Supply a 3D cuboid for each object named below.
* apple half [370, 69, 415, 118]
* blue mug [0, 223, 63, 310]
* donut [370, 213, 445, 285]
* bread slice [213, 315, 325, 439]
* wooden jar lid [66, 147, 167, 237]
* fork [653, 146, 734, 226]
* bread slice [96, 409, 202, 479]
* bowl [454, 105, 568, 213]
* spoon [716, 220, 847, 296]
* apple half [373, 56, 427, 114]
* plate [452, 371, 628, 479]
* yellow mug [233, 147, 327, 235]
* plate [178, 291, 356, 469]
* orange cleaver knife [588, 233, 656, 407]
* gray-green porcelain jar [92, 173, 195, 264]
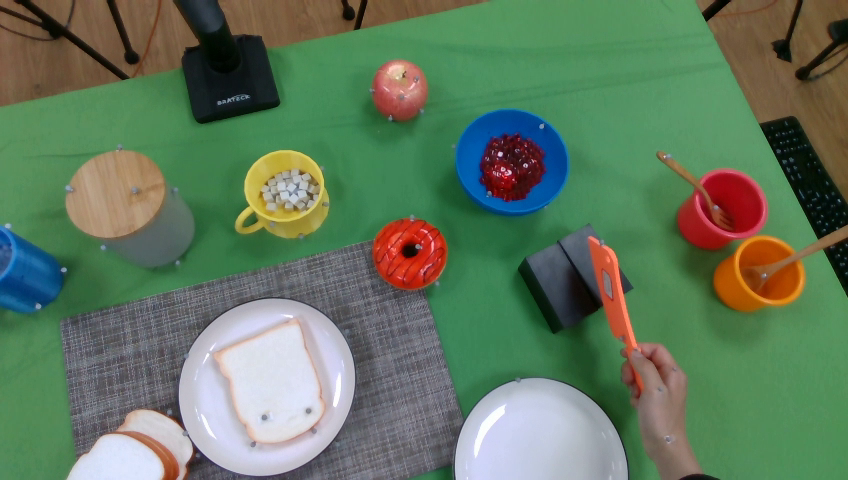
[{"bbox_3d":[-0.051,-0.194,0.841,0.081,0.082,0.032,39,69,10],"label":"apple half"},{"bbox_3d":[-0.513,0.042,0.720,0.116,0.106,0.082,-41,78,-14],"label":"blue mug"},{"bbox_3d":[-0.021,0.012,0.789,0.099,0.048,0.098,1,72,-3],"label":"donut"},{"bbox_3d":[-0.178,0.169,0.732,0.107,0.018,0.133,-26,74,-11],"label":"bread slice"},{"bbox_3d":[-0.345,-0.053,0.685,0.108,0.021,0.107,1,70,-2],"label":"wooden jar lid"},{"bbox_3d":[0.354,-0.068,0.786,0.209,0.018,0.028,30,65,-37],"label":"fork"},{"bbox_3d":[-0.312,0.263,0.691,0.105,0.019,0.131,19,70,-5],"label":"bread slice"},{"bbox_3d":[0.111,-0.097,0.819,0.151,0.077,0.150,1,72,-3],"label":"bowl"},{"bbox_3d":[0.464,0.017,0.765,0.022,0.194,0.041,-1,62,-52],"label":"spoon"},{"bbox_3d":[-0.027,-0.222,0.854,0.080,0.075,0.053,38,68,13],"label":"apple half"},{"bbox_3d":[0.135,0.264,0.722,0.209,0.038,0.208,1,72,-2],"label":"plate"},{"bbox_3d":[-0.192,-0.054,0.793,0.131,0.064,0.099,-38,78,-13],"label":"yellow mug"},{"bbox_3d":[-0.185,0.167,0.731,0.208,0.039,0.206,1,72,-3],"label":"plate"},{"bbox_3d":[0.233,0.093,0.721,0.012,0.077,0.211,-18,96,-5],"label":"orange cleaver knife"},{"bbox_3d":[-0.348,-0.032,0.744,0.106,0.127,0.105,1,71,-3],"label":"gray-green porcelain jar"}]
